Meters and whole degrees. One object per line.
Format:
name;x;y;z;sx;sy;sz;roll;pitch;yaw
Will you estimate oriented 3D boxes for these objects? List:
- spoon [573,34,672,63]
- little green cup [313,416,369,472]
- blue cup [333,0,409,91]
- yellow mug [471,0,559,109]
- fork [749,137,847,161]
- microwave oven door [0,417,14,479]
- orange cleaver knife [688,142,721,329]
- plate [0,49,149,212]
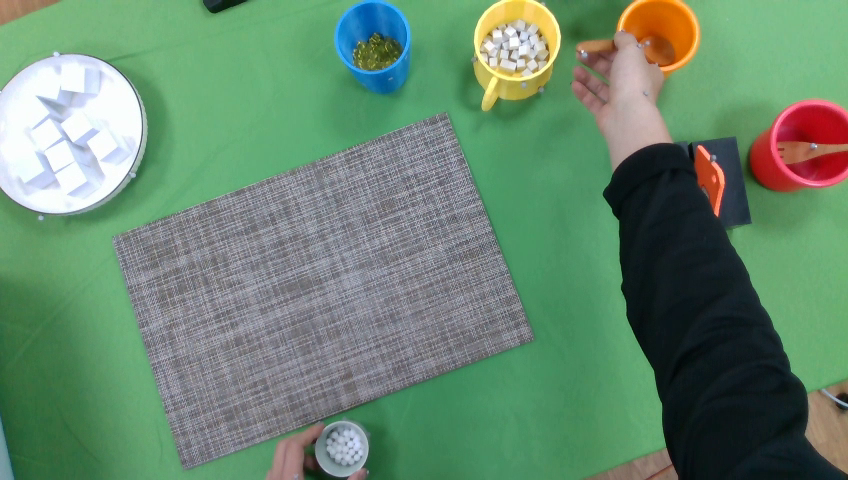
spoon;0.225;-0.218;0.676;0.021;0.194;0.041;-33;76;45
little green cup;-0.094;0.236;0.707;0.061;0.039;0.061;-1;83;7
blue cup;-0.056;-0.222;0.719;0.092;0.100;0.092;0;85;3
yellow mug;0.100;-0.216;0.725;0.100;0.064;0.130;28;88;6
fork;0.463;-0.103;0.651;0.206;0.019;0.028;4;80;46
microwave oven door;-0.519;0.260;0.610;0.039;0.244;0.354;-18;83;2
orange cleaver knife;0.312;-0.001;0.682;0.012;0.076;0.213;-5;113;6
plate;-0.444;-0.136;0.766;0.207;0.039;0.207;0;84;4
